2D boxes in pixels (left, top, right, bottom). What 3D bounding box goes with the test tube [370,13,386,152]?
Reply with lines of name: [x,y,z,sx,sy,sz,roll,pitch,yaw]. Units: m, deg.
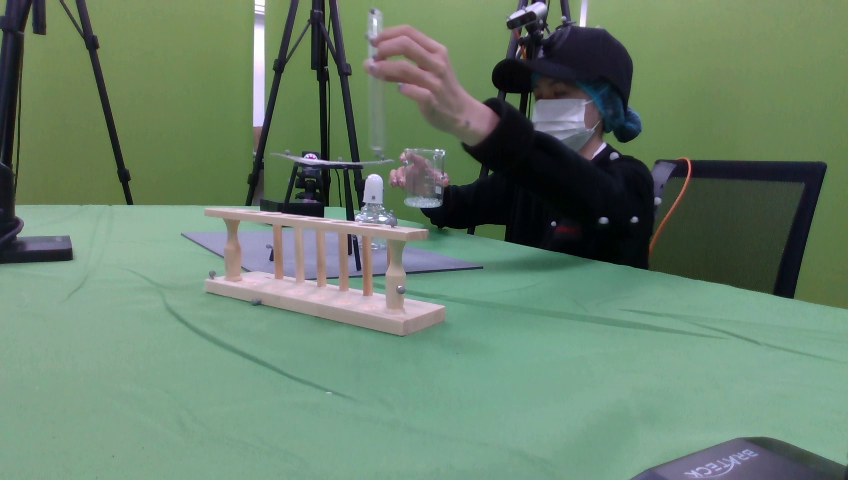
test tube: [-0.048,-0.162,0.621,0.017,0.150,0.017,-1,-12,0]

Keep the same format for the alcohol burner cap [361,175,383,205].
alcohol burner cap: [-0.080,-0.078,0.945,0.034,0.048,0.034,5,7,0]

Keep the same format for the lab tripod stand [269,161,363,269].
lab tripod stand: [-0.125,-0.036,0.794,0.148,0.131,0.148,5,7,0]

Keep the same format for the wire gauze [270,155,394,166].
wire gauze: [-0.121,-0.102,0.785,0.122,0.011,0.124,-3,10,-39]

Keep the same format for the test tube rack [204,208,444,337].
test tube rack: [-0.100,0.021,0.565,0.241,0.085,0.067,7,9,32]

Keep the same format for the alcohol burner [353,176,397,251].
alcohol burner: [-0.082,-0.043,0.950,0.078,0.119,0.078,1,8,0]

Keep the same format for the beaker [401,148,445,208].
beaker: [0.000,-0.108,1.053,0.083,0.100,0.074,12,15,42]
